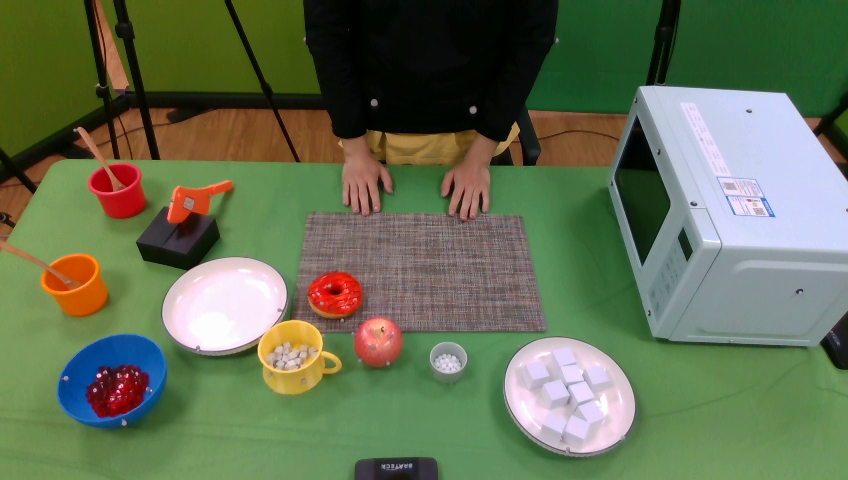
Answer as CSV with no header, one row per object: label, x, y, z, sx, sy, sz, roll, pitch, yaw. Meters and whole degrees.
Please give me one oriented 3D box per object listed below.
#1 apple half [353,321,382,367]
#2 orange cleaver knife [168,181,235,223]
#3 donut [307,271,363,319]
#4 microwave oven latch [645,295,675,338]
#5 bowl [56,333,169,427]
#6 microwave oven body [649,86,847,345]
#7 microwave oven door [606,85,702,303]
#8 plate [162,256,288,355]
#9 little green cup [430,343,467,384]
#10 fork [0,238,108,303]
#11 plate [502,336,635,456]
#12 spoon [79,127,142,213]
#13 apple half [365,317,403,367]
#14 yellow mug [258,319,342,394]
apple half,-0.098,0.177,0.984,0.033,0.081,0.081,-17,49,-25
orange cleaver knife,-0.436,-0.078,1.196,0.012,0.077,0.211,16,15,10
donut,-0.157,0.097,1.072,0.099,0.048,0.098,4,45,-3
microwave oven latch,0.411,0.134,1.061,0.030,0.029,0.078,3,45,0
bowl,-0.456,0.222,0.911,0.151,0.077,0.150,2,46,-2
microwave oven body,0.567,-0.053,1.119,0.326,0.261,0.439,2,45,-1
microwave oven door,0.423,-0.094,1.140,0.039,0.245,0.353,2,46,-1
plate,-0.341,0.115,1.051,0.209,0.038,0.208,2,46,-2
little green cup,0.039,0.203,0.994,0.061,0.039,0.061,2,46,-2
fork,-0.633,0.048,1.017,0.208,0.018,0.028,40,41,-27
plate,0.225,0.248,0.963,0.208,0.039,0.206,2,46,-2
spoon,-0.625,-0.139,1.203,0.041,0.021,0.194,-33,100,-26
apple half,-0.063,0.165,1.000,0.053,0.075,0.080,-16,45,-24
yellow mug,-0.196,0.189,0.972,0.131,0.064,0.099,9,46,4
